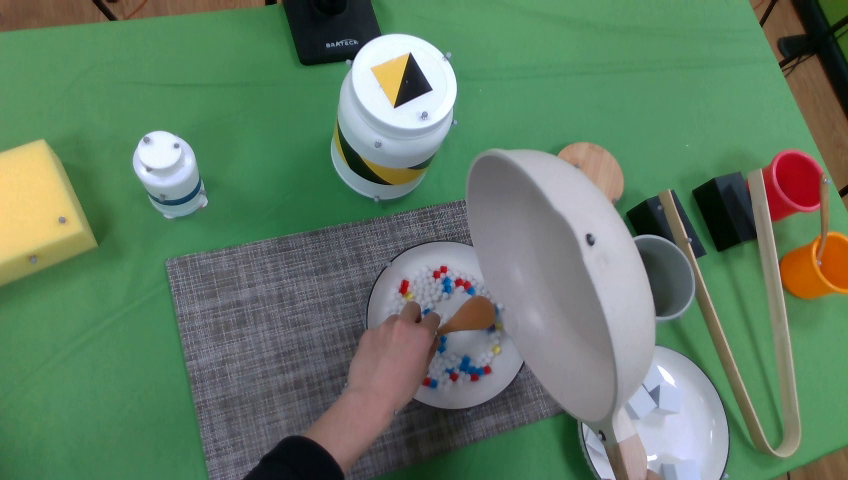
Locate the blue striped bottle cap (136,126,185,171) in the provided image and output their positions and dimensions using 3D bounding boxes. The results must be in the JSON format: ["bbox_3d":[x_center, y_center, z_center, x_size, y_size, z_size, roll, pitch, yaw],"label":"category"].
[{"bbox_3d":[-0.274,-0.095,0.631,0.045,0.021,0.044,4,70,-10],"label":"blue striped bottle cap"}]

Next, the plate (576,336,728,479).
[{"bbox_3d":[0.287,0.228,0.777,0.208,0.039,0.206,4,73,-12],"label":"plate"}]

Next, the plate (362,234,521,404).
[{"bbox_3d":[0.026,0.096,0.745,0.210,0.038,0.208,4,73,-13],"label":"plate"}]

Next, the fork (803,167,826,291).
[{"bbox_3d":[0.554,-0.012,0.855,0.028,0.018,0.209,-26,125,-12],"label":"fork"}]

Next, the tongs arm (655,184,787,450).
[{"bbox_3d":[0.397,0.102,0.812,0.051,0.026,0.384,-18,89,-20],"label":"tongs arm"}]

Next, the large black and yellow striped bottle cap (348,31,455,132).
[{"bbox_3d":[-0.023,-0.171,0.647,0.115,0.019,0.114,4,72,-12],"label":"large black and yellow striped bottle cap"}]

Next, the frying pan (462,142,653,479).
[{"bbox_3d":[0.159,0.127,0.589,0.103,0.308,0.484,-13,72,-9],"label":"frying pan"}]

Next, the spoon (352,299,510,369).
[{"bbox_3d":[0.012,0.109,0.676,0.194,0.021,0.042,-17,102,-14],"label":"spoon"}]

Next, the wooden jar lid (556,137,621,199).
[{"bbox_3d":[0.230,-0.096,0.868,0.109,0.021,0.108,4,74,-13],"label":"wooden jar lid"}]

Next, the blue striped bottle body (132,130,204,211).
[{"bbox_3d":[-0.286,-0.081,0.679,0.063,0.121,0.062,4,72,-13],"label":"blue striped bottle body"}]

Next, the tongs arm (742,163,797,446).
[{"bbox_3d":[0.476,0.085,0.838,0.028,0.027,0.386,-3,84,-22],"label":"tongs arm"}]

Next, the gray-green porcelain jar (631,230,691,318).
[{"bbox_3d":[0.256,0.055,0.772,0.106,0.127,0.105,4,72,-12],"label":"gray-green porcelain jar"}]

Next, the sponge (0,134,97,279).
[{"bbox_3d":[-0.481,-0.016,0.642,0.207,0.061,0.118,-27,82,-21],"label":"sponge"}]

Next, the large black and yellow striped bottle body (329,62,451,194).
[{"bbox_3d":[-0.043,-0.146,0.727,0.131,0.184,0.130,4,72,-12],"label":"large black and yellow striped bottle body"}]
